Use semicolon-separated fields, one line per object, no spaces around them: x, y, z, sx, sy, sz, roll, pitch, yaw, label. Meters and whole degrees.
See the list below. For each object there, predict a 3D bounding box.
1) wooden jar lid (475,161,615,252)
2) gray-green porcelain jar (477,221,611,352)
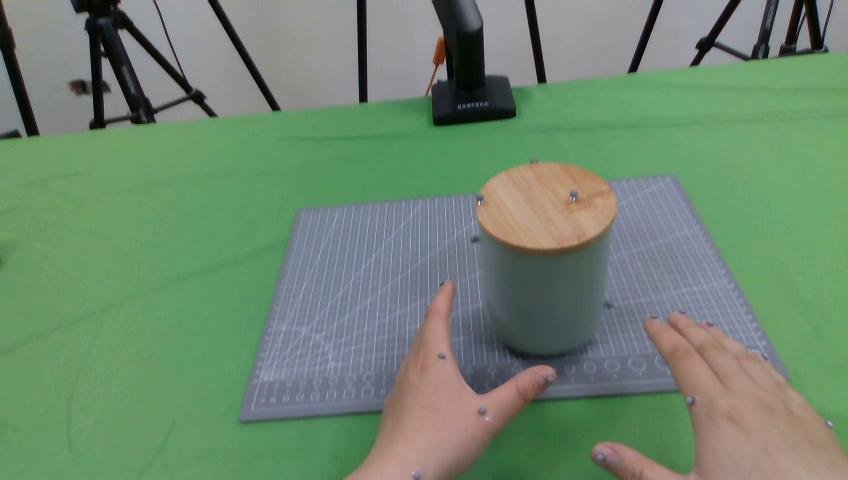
0.094;-0.024;0.476;0.108;0.021;0.107;-6;40;5;wooden jar lid
0.101;0.024;0.515;0.106;0.128;0.105;-5;39;4;gray-green porcelain jar
